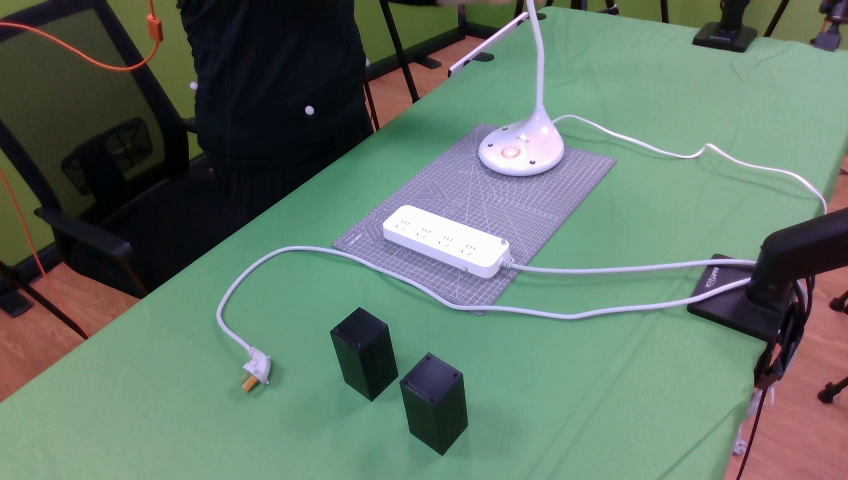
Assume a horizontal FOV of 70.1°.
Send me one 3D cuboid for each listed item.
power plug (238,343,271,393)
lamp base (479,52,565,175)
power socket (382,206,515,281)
[{"bbox_3d":[-0.230,0.172,0.801,0.072,0.035,0.053,8,51,50],"label":"power plug"},{"bbox_3d":[0.181,-0.235,1.094,0.159,0.181,0.179,18,43,27],"label":"lamp base"},{"bbox_3d":[0.032,0.002,0.950,0.225,0.033,0.072,21,49,29],"label":"power socket"}]
